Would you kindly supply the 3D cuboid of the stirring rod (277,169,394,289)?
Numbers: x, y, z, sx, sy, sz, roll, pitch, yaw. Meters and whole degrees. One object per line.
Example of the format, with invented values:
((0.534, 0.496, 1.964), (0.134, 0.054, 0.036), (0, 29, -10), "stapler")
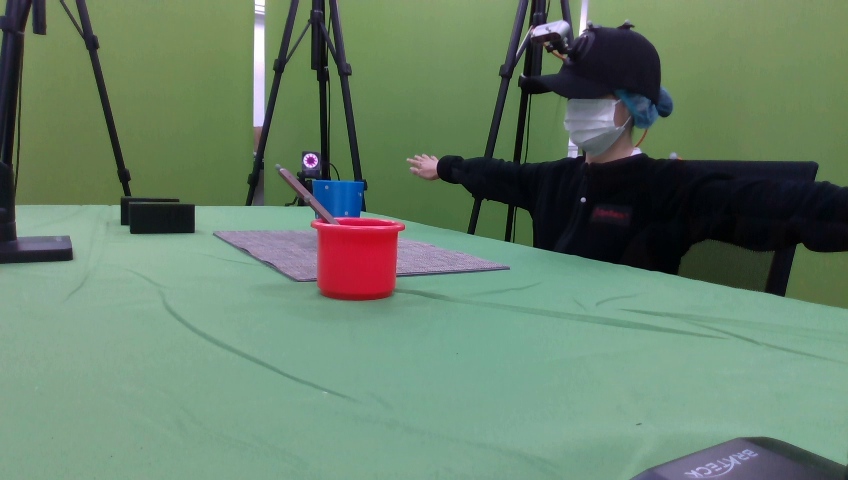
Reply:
((-0.094, -0.013, 0.639), (0.176, 0.006, 0.014), (46, 22, 7), "stirring rod")

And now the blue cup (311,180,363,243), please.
((-0.144, -0.047, 0.997), (0.093, 0.100, 0.092), (2, 6, 0), "blue cup")
